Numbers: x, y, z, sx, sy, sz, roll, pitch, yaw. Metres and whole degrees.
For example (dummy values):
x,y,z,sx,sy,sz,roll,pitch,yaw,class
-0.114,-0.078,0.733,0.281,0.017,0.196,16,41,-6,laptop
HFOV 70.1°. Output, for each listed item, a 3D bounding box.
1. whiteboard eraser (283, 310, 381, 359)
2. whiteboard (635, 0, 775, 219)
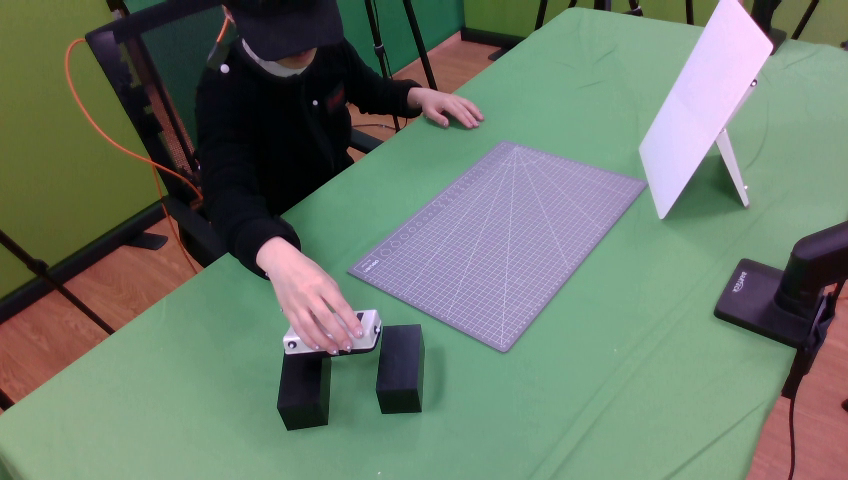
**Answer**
x,y,z,sx,sy,sz,roll,pitch,yaw,class
-0.111,0.118,0.742,0.112,0.042,0.055,-5,31,9,whiteboard eraser
0.486,-0.192,0.956,0.144,0.305,0.216,14,41,-4,whiteboard
